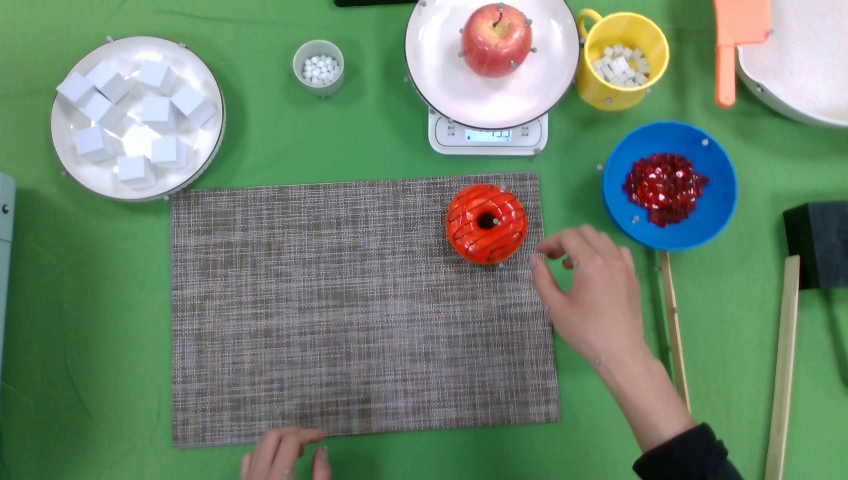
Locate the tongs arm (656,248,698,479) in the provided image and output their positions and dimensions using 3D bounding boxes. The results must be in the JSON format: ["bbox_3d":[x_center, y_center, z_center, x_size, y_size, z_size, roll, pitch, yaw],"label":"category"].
[{"bbox_3d":[0.315,0.197,0.698,0.051,0.026,0.383,-4,83,-4],"label":"tongs arm"}]

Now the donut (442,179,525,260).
[{"bbox_3d":[0.070,-0.025,0.718,0.099,0.048,0.098,0,82,1],"label":"donut"}]

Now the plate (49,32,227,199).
[{"bbox_3d":[-0.342,-0.148,0.738,0.208,0.039,0.207,0,82,-1],"label":"plate"}]

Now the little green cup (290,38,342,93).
[{"bbox_3d":[-0.131,-0.214,0.750,0.061,0.039,0.061,0,81,0],"label":"little green cup"}]

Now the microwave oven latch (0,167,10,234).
[{"bbox_3d":[-0.503,-0.047,0.702,0.030,0.029,0.079,1,82,-1],"label":"microwave oven latch"}]

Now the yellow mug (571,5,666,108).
[{"bbox_3d":[0.225,-0.233,0.743,0.100,0.064,0.130,-36,83,-5],"label":"yellow mug"}]

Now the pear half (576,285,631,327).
[{"bbox_3d":[0.208,0.070,0.687,0.070,0.088,0.031,27,83,6],"label":"pear half"}]

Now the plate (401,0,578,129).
[{"bbox_3d":[0.077,-0.230,0.725,0.209,0.038,0.208,0,81,-1],"label":"plate"}]

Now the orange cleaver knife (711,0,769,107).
[{"bbox_3d":[0.366,-0.259,0.712,0.077,0.012,0.210,1,82,2],"label":"orange cleaver knife"}]

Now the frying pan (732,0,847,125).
[{"bbox_3d":[0.553,-0.188,0.722,0.307,0.103,0.485,-30,75,-4],"label":"frying pan"}]

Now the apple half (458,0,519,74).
[{"bbox_3d":[0.068,-0.239,0.700,0.053,0.075,0.081,36,85,8],"label":"apple half"}]

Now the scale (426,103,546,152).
[{"bbox_3d":[0.078,-0.210,0.755,0.149,0.031,0.200,1,82,0],"label":"scale"}]

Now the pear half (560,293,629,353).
[{"bbox_3d":[0.189,0.098,0.673,0.076,0.110,0.056,28,83,8],"label":"pear half"}]

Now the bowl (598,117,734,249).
[{"bbox_3d":[0.271,-0.059,0.713,0.151,0.077,0.151,0,82,0],"label":"bowl"}]

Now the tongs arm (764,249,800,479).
[{"bbox_3d":[0.402,0.200,0.700,0.028,0.028,0.386,12,83,-5],"label":"tongs arm"}]

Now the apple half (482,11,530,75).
[{"bbox_3d":[0.100,-0.217,0.697,0.032,0.081,0.081,36,82,9],"label":"apple half"}]

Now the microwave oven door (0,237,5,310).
[{"bbox_3d":[-0.502,0.154,0.570,0.039,0.244,0.354,-1,81,-1],"label":"microwave oven door"}]
